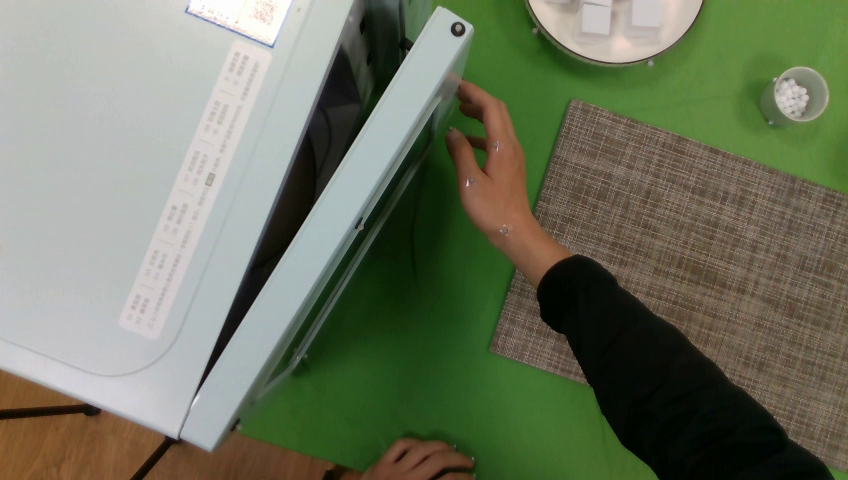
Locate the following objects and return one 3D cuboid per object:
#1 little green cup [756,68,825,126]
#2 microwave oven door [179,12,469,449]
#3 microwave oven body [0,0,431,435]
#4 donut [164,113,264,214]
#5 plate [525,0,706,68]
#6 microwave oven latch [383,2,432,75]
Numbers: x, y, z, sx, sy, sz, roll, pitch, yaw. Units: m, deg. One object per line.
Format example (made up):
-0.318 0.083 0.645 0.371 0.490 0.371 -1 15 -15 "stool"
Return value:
0.409 -0.158 0.682 0.061 0.038 0.061 0 88 -2 "little green cup"
-0.075 -0.006 0.541 0.039 0.244 0.355 31 88 0 "microwave oven door"
-0.219 -0.113 0.543 0.326 0.260 0.441 22 89 -2 "microwave oven body"
-0.203 -0.073 0.586 0.099 0.048 0.099 1 96 11 "donut"
0.209 -0.292 0.677 0.208 0.039 0.207 0 89 -2 "plate"
-0.018 -0.219 0.648 0.030 0.029 0.079 26 89 -2 "microwave oven latch"
